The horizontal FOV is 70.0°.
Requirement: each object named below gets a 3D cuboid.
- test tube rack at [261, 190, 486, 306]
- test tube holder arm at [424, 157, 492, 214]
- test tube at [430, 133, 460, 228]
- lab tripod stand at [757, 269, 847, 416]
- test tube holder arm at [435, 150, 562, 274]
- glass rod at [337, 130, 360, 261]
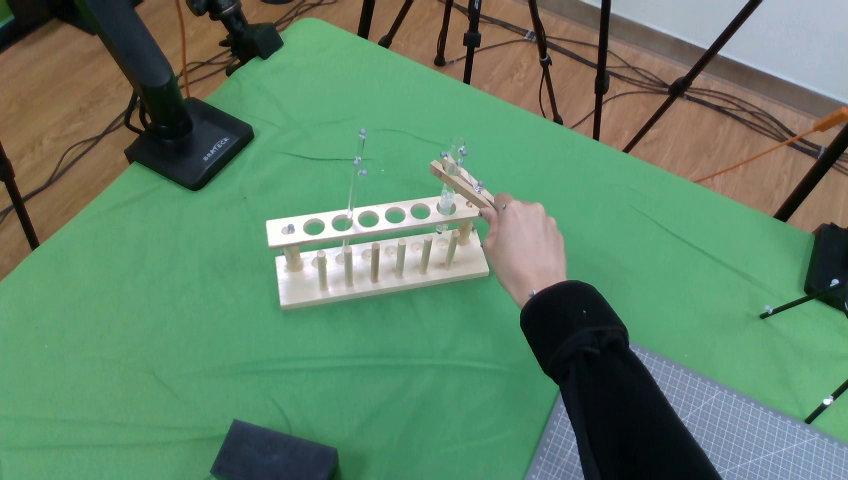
[{"bbox_3d":[-0.051,0.007,0.682,0.243,0.086,0.066,-9,59,-11],"label":"test tube rack"},{"bbox_3d":[0.036,-0.055,0.615,0.087,0.015,0.010,36,63,19],"label":"test tube holder arm"},{"bbox_3d":[0.021,-0.058,0.646,0.017,0.151,0.017,3,57,-4],"label":"test tube"},{"bbox_3d":[0.442,0.101,0.639,0.148,0.132,0.147,3,59,-4],"label":"lab tripod stand"},{"bbox_3d":[0.071,-0.031,0.601,0.013,0.015,0.177,-36,66,-22],"label":"test tube holder arm"},{"bbox_3d":[-0.080,-0.037,0.630,0.008,0.201,0.008,7,50,-8],"label":"glass rod"}]
